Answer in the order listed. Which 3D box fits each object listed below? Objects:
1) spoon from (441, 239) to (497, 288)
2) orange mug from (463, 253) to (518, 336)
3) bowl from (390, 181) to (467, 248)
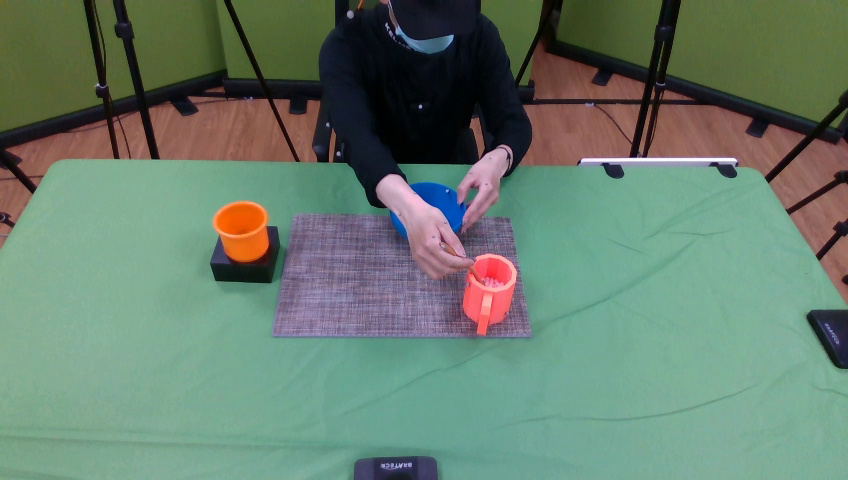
[{"bbox_3d":[0.081,0.051,1.022,0.021,0.195,0.041,-4,54,33],"label":"spoon"},{"bbox_3d":[0.112,0.098,1.049,0.083,0.101,0.125,10,42,6],"label":"orange mug"},{"bbox_3d":[0.007,-0.037,1.188,0.151,0.077,0.150,2,45,-2],"label":"bowl"}]
